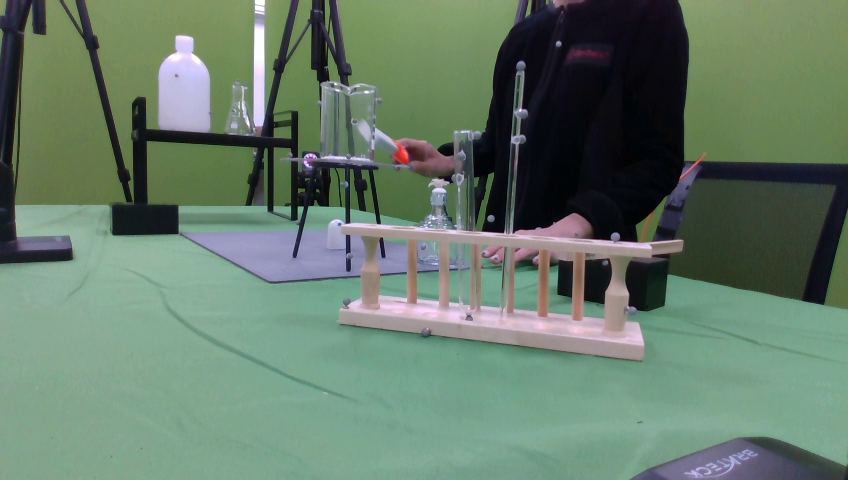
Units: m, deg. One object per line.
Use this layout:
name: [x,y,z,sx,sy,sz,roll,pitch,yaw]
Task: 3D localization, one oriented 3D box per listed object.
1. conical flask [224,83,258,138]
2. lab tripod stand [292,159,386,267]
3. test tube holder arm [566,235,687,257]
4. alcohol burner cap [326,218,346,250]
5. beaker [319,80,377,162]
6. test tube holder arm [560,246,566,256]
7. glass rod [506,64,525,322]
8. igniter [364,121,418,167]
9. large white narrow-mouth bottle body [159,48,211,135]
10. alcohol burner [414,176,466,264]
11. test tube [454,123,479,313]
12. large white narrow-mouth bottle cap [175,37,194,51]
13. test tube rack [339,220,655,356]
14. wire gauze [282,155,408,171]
conical flask: [-0.422,-0.299,1.395,0.075,0.122,0.075,2,7,0]
lab tripod stand: [-0.104,-0.039,0.798,0.148,0.131,0.148,2,5,0]
test tube holder arm: [0.215,0.006,0.630,0.179,0.015,0.013,-3,9,-31]
alcohol burner cap: [-0.133,-0.010,0.927,0.034,0.048,0.034,4,8,0]
beaker: [-0.098,-0.150,0.777,0.074,0.100,0.084,1,7,-7]
test tube holder arm: [0.173,0.007,0.612,0.088,0.015,0.010,-3,9,-30]
glass rod: [0.069,-0.030,0.458,0.008,0.199,0.008,0,15,0]
igniter: [-0.048,-0.154,0.997,0.025,0.057,0.277,-39,-6,7]
large white narrow-mouth bottle body: [-0.503,-0.323,1.275,0.102,0.194,0.102,2,7,0]
alcohol burner: [0.021,-0.028,0.826,0.078,0.119,0.078,0,6,0]
test tube: [0.034,-0.016,0.477,0.017,0.150,0.017,-2,9,1]
large white narrow-mouth bottle cap: [-0.501,-0.409,1.264,0.038,0.024,0.037,2,7,0]
test tube rack: [0.056,0.032,0.495,0.242,0.085,0.067,4,7,15]
wire gauze: [-0.104,-0.103,0.785,0.126,0.011,0.121,1,8,-39]
